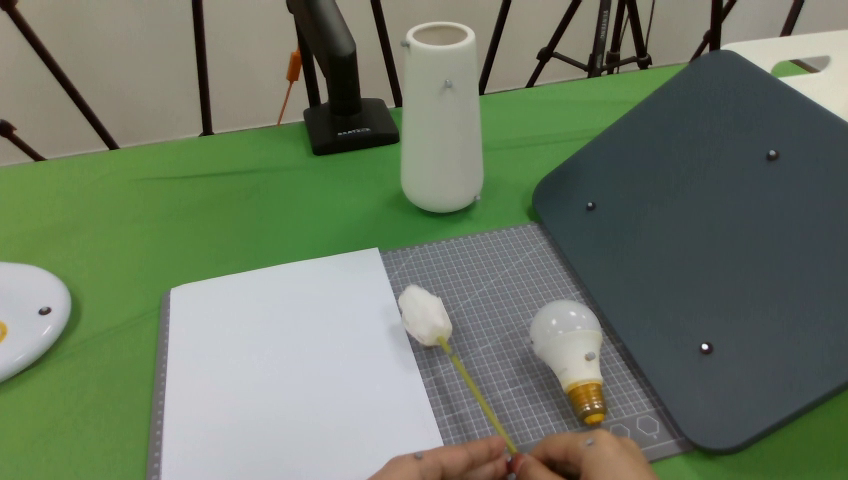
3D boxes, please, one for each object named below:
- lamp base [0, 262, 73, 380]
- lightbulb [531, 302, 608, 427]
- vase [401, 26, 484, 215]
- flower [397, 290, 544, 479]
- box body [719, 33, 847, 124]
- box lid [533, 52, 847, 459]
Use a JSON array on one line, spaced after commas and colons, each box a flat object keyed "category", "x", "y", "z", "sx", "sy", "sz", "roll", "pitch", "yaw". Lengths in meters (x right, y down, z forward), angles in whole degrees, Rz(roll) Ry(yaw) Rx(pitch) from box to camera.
[{"category": "lamp base", "x": -0.428, "y": 0.017, "z": 0.522, "sx": 0.178, "sy": 0.182, "sz": 0.160, "roll": 23, "pitch": 45, "yaw": 29}, {"category": "lightbulb", "x": 0.125, "y": 0.102, "z": 0.503, "sx": 0.059, "sy": 0.060, "sz": 0.106, "roll": -8, "pitch": 56, "yaw": -7}, {"category": "vase", "x": 0.018, "y": -0.126, "z": 0.668, "sx": 0.098, "sy": 0.202, "sz": 0.097, "roll": -2, "pitch": 39, "yaw": 2}, {"category": "flower", "x": 0.065, "y": 0.150, "z": 0.438, "sx": 0.038, "sy": 0.044, "sz": 0.357, "roll": -13, "pitch": 36, "yaw": -23}, {"category": "box body", "x": 0.478, "y": -0.059, "z": 0.602, "sx": 0.254, "sy": 0.162, "sz": 0.360, "roll": -9, "pitch": 40, "yaw": -9}, {"category": "box lid", "x": 0.264, "y": -0.016, "z": 0.549, "sx": 0.263, "sy": 0.015, "sz": 0.367, "roll": -39, "pitch": 39, "yaw": 15}]
